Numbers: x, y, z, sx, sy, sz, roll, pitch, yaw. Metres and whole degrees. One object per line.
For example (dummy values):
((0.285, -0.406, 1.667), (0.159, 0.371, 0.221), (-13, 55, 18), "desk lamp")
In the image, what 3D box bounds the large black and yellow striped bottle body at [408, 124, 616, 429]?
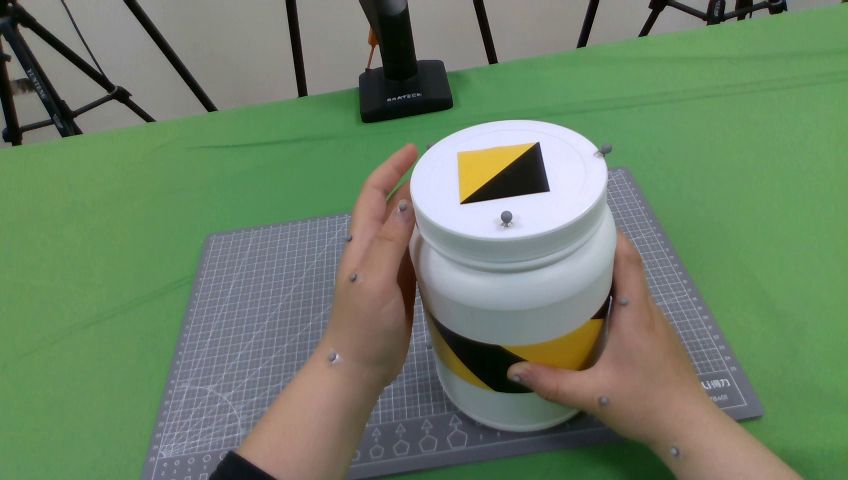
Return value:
((0.060, 0.028, 0.414), (0.130, 0.186, 0.129), (-6, 43, 6), "large black and yellow striped bottle body")

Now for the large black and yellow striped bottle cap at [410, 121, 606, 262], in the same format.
((0.048, -0.033, 0.356), (0.115, 0.019, 0.114), (-6, 41, 6), "large black and yellow striped bottle cap")
